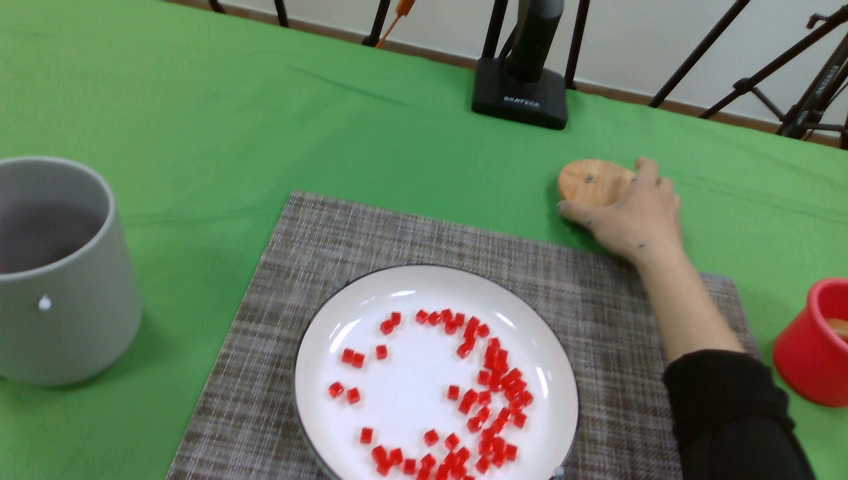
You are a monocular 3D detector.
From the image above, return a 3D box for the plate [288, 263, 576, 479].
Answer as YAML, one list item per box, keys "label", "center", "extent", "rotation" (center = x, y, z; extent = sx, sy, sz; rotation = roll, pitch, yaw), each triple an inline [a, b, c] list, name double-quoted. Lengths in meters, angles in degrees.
- label: "plate"
  center: [0.006, 0.106, 0.447]
  extent: [0.208, 0.039, 0.205]
  rotation: [7, 46, -7]

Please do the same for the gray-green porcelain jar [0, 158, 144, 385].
- label: "gray-green porcelain jar"
  center: [-0.250, 0.027, 0.403]
  extent: [0.106, 0.127, 0.105]
  rotation: [7, 46, -7]

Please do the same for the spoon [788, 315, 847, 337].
- label: "spoon"
  center: [0.389, 0.083, 0.484]
  extent: [0.042, 0.022, 0.192]
  rotation: [-10, 10, -28]

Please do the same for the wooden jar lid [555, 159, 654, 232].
- label: "wooden jar lid"
  center: [0.194, -0.048, 0.659]
  extent: [0.108, 0.021, 0.107]
  rotation: [6, 47, -7]
